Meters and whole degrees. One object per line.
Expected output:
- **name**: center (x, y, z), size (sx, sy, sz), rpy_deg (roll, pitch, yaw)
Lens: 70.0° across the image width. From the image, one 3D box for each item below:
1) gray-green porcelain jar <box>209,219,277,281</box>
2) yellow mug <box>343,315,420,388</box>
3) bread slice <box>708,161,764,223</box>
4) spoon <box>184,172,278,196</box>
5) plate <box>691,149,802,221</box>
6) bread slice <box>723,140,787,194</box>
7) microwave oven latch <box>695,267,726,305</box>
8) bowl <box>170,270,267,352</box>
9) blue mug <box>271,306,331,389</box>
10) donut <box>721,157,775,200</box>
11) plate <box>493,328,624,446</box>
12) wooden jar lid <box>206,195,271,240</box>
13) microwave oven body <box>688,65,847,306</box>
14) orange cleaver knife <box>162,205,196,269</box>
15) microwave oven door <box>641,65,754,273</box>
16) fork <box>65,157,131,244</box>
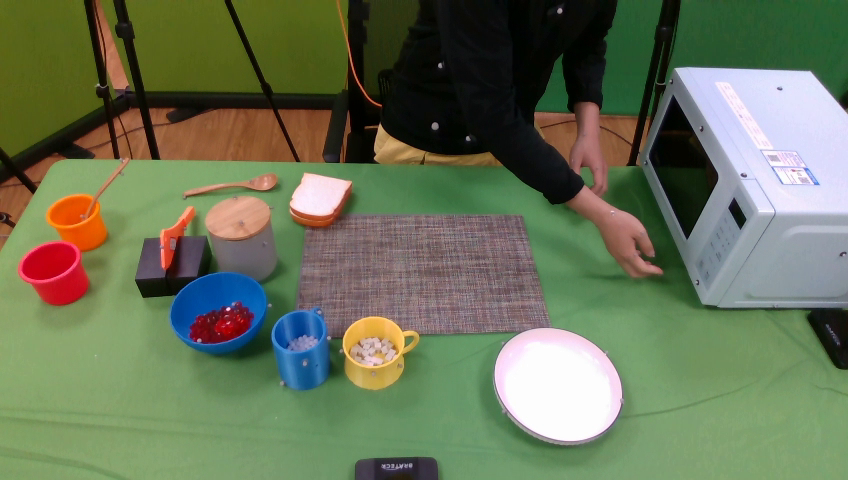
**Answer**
- **gray-green porcelain jar**: center (-0.323, 0.007, 1.092), size (0.106, 0.127, 0.105), rpy_deg (2, 46, -2)
- **yellow mug**: center (-0.067, 0.177, 0.990), size (0.131, 0.064, 0.099), rpy_deg (-16, 50, -19)
- **bread slice**: center (0.652, -0.105, 1.261), size (0.105, 0.019, 0.131), rpy_deg (11, 68, 9)
- **spoon**: center (-0.405, -0.116, 1.275), size (0.194, 0.022, 0.041), rpy_deg (-8, 65, -12)
- **plate**: center (0.652, -0.109, 1.238), size (0.209, 0.038, 0.208), rpy_deg (-1, 47, 1)
- **bread slice**: center (0.661, -0.147, 1.200), size (0.107, 0.018, 0.133), rpy_deg (0, 54, 10)
- **microwave oven latch**: center (0.524, 0.082, 1.115), size (0.030, 0.029, 0.078), rpy_deg (4, 46, 1)
- **bowl**: center (-0.333, 0.132, 1.006), size (0.151, 0.077, 0.150), rpy_deg (2, 46, -2)
- **blue mug**: center (-0.188, 0.163, 0.969), size (0.082, 0.106, 0.116), rpy_deg (15, 47, 10)
- **donut**: center (0.648, -0.124, 1.214), size (0.099, 0.048, 0.098), rpy_deg (-4, 55, 5)
- **plate**: center (0.213, 0.236, 0.974), size (0.208, 0.039, 0.206), rpy_deg (2, 46, -2)
- **wooden jar lid**: center (-0.319, -0.036, 1.046), size (0.108, 0.021, 0.107), rpy_deg (1, 44, -1)
- **microwave oven body**: center (0.670, -0.111, 1.176), size (0.326, 0.261, 0.439), rpy_deg (0, 46, -3)
- **orange cleaver knife**: center (-0.454, -0.010, 1.129), size (0.012, 0.077, 0.210), rpy_deg (-2, 20, -5)
- **microwave oven door**: center (0.524, -0.148, 1.193), size (0.039, 0.245, 0.353), rpy_deg (0, 47, -3)
- **fork**: center (-0.608, -0.074, 1.133), size (0.207, 0.019, 0.028), rpy_deg (-52, 51, 10)
